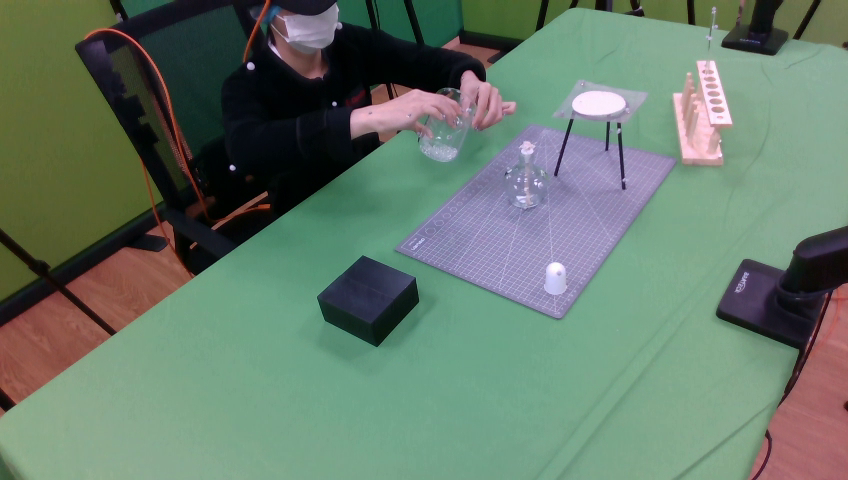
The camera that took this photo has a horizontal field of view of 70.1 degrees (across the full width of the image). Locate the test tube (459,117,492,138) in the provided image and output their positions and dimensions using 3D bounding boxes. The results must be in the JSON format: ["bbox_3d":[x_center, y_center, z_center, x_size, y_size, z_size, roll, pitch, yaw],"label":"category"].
[{"bbox_3d":[0.096,-0.204,1.106,0.017,0.017,0.151,13,6,24],"label":"test tube"}]

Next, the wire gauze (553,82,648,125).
[{"bbox_3d":[0.293,-0.226,1.002,0.120,0.011,0.125,17,45,27],"label":"wire gauze"}]

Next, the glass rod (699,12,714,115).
[{"bbox_3d":[0.525,-0.323,1.124,0.008,0.201,0.008,-8,38,6],"label":"glass rod"}]

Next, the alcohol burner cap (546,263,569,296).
[{"bbox_3d":[0.191,0.053,0.862,0.034,0.048,0.033,-5,40,4],"label":"alcohol burner cap"}]

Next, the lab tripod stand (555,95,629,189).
[{"bbox_3d":[0.300,-0.174,1.045,0.148,0.132,0.147,-5,38,5],"label":"lab tripod stand"}]

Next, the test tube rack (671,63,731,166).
[{"bbox_3d":[0.513,-0.241,1.132,0.066,0.085,0.242,4,41,14],"label":"test tube rack"}]

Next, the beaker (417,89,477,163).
[{"bbox_3d":[0.037,-0.183,0.990,0.073,0.084,0.100,10,66,28],"label":"beaker"}]

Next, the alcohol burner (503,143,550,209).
[{"bbox_3d":[0.171,-0.112,1.006,0.078,0.119,0.077,-3,41,3],"label":"alcohol burner"}]
